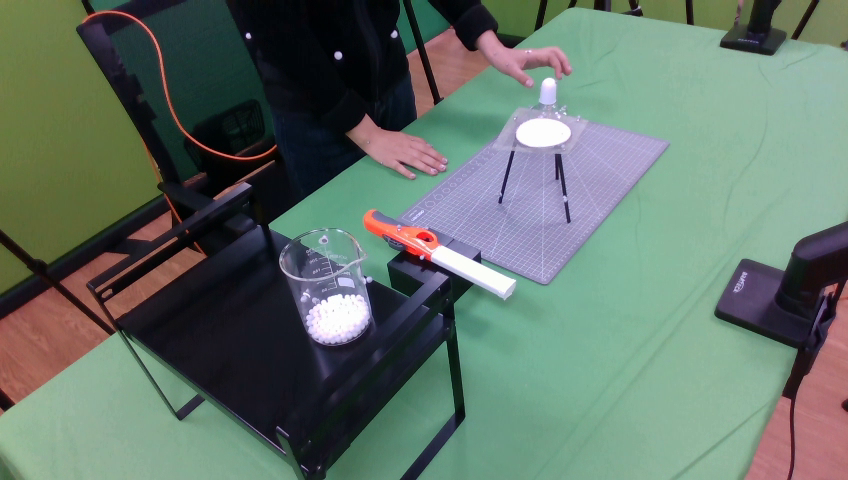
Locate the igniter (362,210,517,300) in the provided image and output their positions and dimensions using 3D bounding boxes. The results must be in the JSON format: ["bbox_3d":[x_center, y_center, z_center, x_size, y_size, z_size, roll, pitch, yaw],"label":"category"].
[{"bbox_3d":[0.011,0.015,0.880,0.274,0.025,0.057,26,48,30],"label":"igniter"}]

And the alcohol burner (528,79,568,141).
[{"bbox_3d":[0.238,-0.253,1.163,0.078,0.119,0.077,-6,40,6],"label":"alcohol burner"}]

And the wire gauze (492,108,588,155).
[{"bbox_3d":[0.185,-0.170,0.953,0.121,0.011,0.125,13,44,22],"label":"wire gauze"}]

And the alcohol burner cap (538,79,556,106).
[{"bbox_3d":[0.234,-0.281,1.141,0.034,0.048,0.033,-2,43,2],"label":"alcohol burner cap"}]

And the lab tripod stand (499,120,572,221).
[{"bbox_3d":[0.198,-0.117,0.992,0.148,0.132,0.147,-3,40,3],"label":"lab tripod stand"}]

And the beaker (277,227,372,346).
[{"bbox_3d":[-0.090,0.048,0.593,0.084,0.101,0.073,-3,41,5],"label":"beaker"}]
